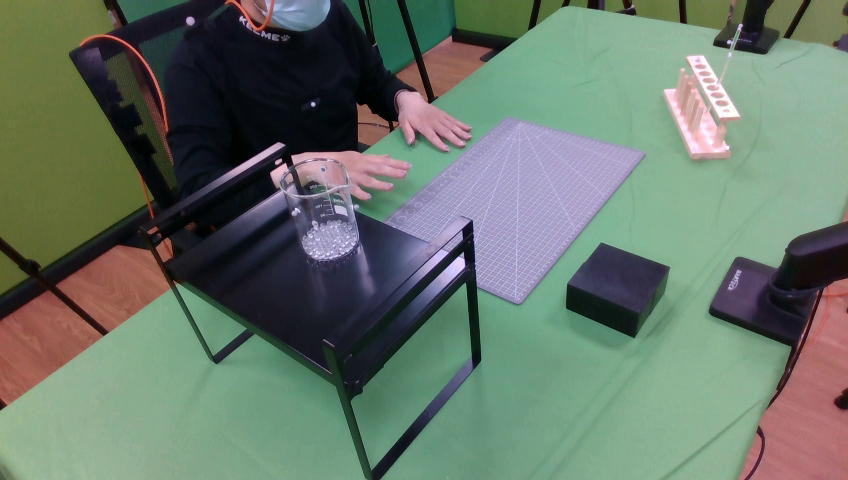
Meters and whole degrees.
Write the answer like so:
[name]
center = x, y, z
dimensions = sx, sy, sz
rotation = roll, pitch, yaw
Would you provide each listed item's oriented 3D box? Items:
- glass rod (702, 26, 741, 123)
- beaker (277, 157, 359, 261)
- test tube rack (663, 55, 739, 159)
[glass rod]
center = 0.528, -0.288, 1.078
dimensions = 0.008, 0.200, 0.008
rotation = -1, 50, 2
[beaker]
center = -0.114, -0.033, 0.688
dimensions = 0.084, 0.101, 0.074
rotation = 5, 43, 13
[test tube rack]
center = 0.518, -0.256, 1.144
dimensions = 0.066, 0.085, 0.241
rotation = -1, 41, 8
